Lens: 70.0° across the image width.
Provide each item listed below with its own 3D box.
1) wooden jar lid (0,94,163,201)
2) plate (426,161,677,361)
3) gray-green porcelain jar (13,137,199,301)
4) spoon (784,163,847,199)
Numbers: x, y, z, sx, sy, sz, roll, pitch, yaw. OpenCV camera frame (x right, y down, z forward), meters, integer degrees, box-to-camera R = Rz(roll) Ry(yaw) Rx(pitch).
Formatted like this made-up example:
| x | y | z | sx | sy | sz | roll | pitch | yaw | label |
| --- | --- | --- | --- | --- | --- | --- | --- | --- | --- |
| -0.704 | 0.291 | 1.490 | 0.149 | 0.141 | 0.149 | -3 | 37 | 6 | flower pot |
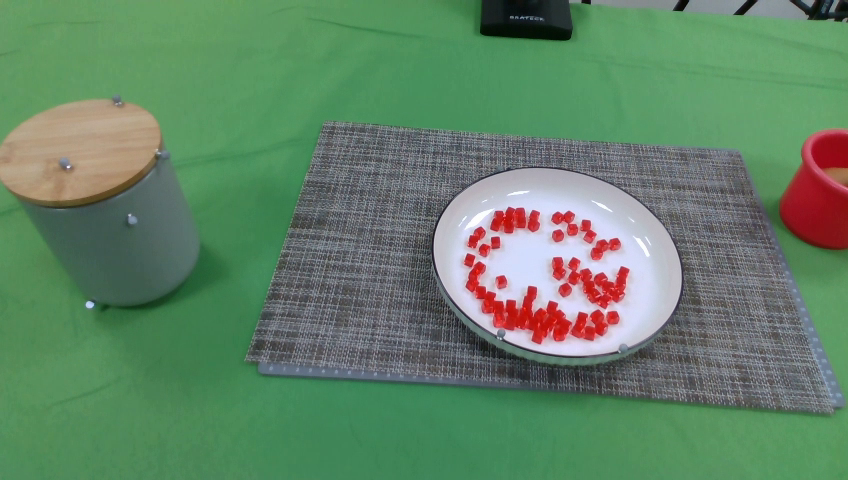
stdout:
| x | y | z | sx | sy | sz | roll | pitch | yaw | label |
| --- | --- | --- | --- | --- | --- | --- | --- | --- | --- |
| -0.242 | -0.064 | 0.431 | 0.108 | 0.021 | 0.107 | 3 | 49 | -3 | wooden jar lid |
| 0.105 | 0.016 | 0.517 | 0.208 | 0.039 | 0.205 | 1 | 50 | -1 | plate |
| -0.243 | -0.022 | 0.480 | 0.106 | 0.127 | 0.105 | 2 | 49 | -1 | gray-green porcelain jar |
| 0.418 | -0.067 | 0.527 | 0.193 | 0.022 | 0.041 | -11 | 32 | 44 | spoon |
